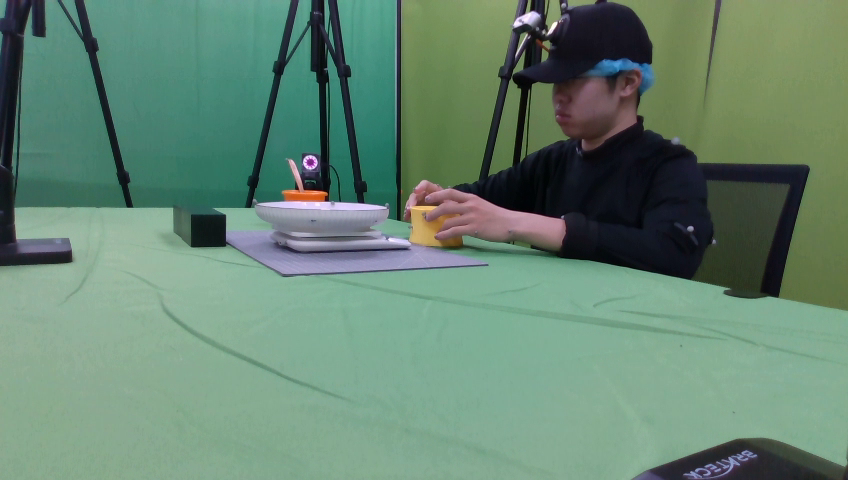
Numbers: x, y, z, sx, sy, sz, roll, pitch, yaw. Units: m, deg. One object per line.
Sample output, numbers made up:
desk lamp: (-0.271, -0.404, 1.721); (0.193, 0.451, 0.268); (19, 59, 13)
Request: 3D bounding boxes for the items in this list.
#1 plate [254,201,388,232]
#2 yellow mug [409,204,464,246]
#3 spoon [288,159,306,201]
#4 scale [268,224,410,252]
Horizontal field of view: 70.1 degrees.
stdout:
plate: (-0.161, -0.038, 0.961); (0.209, 0.038, 0.209); (2, 6, 0)
yellow mug: (0.028, -0.030, 1.103); (0.099, 0.064, 0.131); (5, 10, 21)
spoon: (-0.260, -0.103, 1.268); (0.042, 0.193, 0.021); (3, -39, -33)
scale: (-0.137, -0.006, 0.979); (0.202, 0.031, 0.148); (-1, 8, -30)
